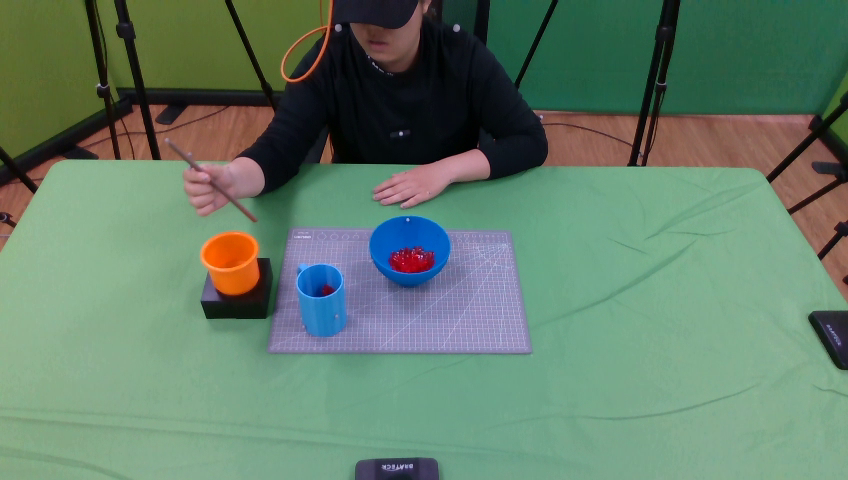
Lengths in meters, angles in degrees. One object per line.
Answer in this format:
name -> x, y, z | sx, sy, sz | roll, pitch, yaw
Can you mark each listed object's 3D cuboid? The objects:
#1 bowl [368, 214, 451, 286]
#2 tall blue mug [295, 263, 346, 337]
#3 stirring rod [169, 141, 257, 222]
bowl -> -0.027, 0.031, 1.122 | 0.151, 0.077, 0.150 | 2, 46, -2
tall blue mug -> -0.187, 0.096, 1.027 | 0.107, 0.108, 0.077 | 21, 49, 16
stirring rod -> -0.329, -0.090, 0.952 | 0.014, 0.177, 0.006 | -16, 36, 46
